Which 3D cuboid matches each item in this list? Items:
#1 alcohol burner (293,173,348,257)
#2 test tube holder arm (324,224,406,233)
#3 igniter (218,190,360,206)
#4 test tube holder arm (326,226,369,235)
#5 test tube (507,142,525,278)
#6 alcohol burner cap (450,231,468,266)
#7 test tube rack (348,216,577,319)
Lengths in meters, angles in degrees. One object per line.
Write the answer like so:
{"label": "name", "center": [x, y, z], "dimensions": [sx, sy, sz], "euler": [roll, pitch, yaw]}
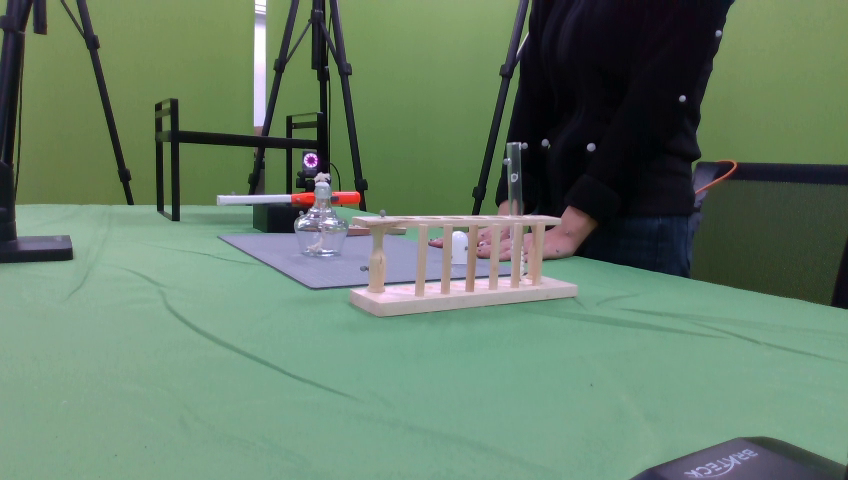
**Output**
{"label": "alcohol burner", "center": [-0.146, -0.036, 0.859], "dimensions": [0.078, 0.119, 0.078], "euler": [4, 8, 0]}
{"label": "test tube holder arm", "center": [-0.105, -0.020, 1.120], "dimensions": [0.179, 0.015, 0.013], "euler": [-1, 31, -43]}
{"label": "igniter", "center": [-0.247, -0.080, 1.150], "dimensions": [0.278, 0.025, 0.057], "euler": [-5, 7, -29]}
{"label": "test tube holder arm", "center": [-0.136, -0.017, 1.085], "dimensions": [0.088, 0.015, 0.010], "euler": [0, 31, -42]}
{"label": "test tube", "center": [0.101, -0.032, 0.664], "dimensions": [0.017, 0.150, 0.017], "euler": [-3, 9, 1]}
{"label": "alcohol burner cap", "center": [0.046, 0.011, 0.838], "dimensions": [0.034, 0.048, 0.034], "euler": [2, 6, 0]}
{"label": "test tube rack", "center": [0.048, 0.021, 0.619], "dimensions": [0.244, 0.085, 0.066], "euler": [-2, 9, -31]}
